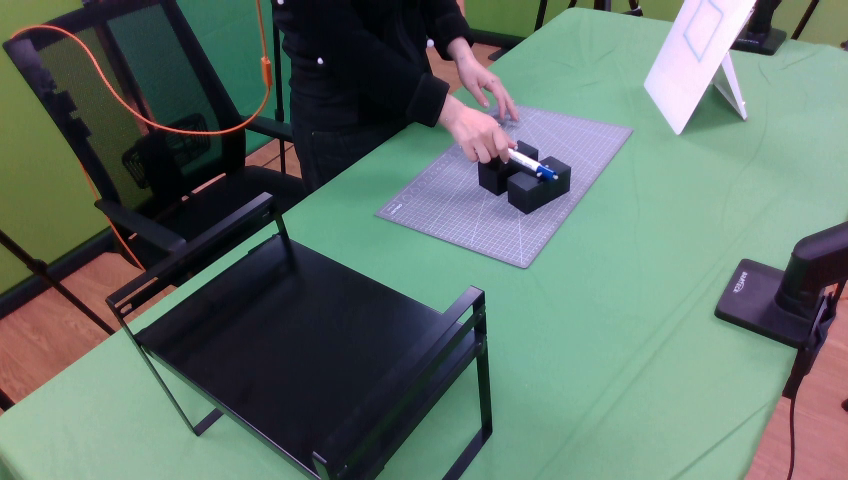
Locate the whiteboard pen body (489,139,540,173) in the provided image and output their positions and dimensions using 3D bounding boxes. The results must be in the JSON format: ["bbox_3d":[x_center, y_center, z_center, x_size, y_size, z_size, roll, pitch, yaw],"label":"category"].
[{"bbox_3d":[0.163,-0.140,1.032,0.017,0.017,0.139,-31,48,-25],"label":"whiteboard pen body"}]

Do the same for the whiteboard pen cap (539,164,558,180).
[{"bbox_3d":[0.203,-0.113,0.999,0.018,0.018,0.033,-33,49,-26],"label":"whiteboard pen cap"}]

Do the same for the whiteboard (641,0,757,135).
[{"bbox_3d":[0.576,-0.367,1.147,0.144,0.305,0.216,10,39,-9],"label":"whiteboard"}]
